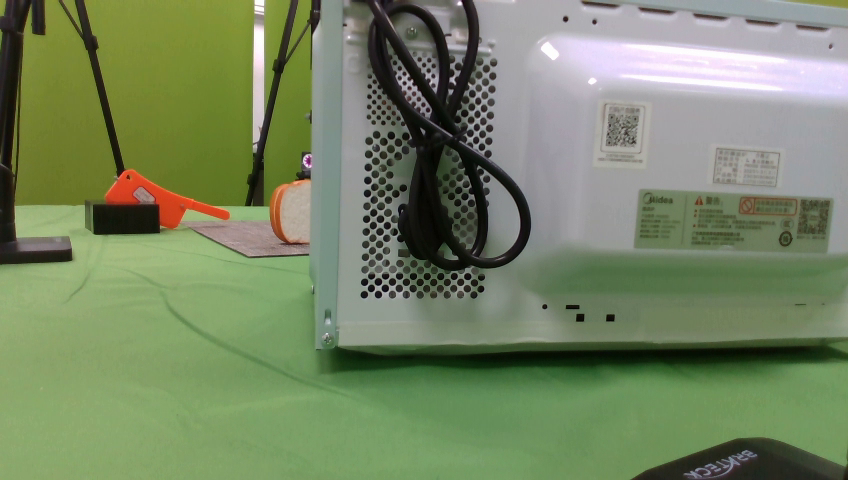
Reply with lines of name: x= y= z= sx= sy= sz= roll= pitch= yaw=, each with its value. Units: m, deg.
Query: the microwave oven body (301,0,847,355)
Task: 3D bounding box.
microwave oven body: x=0.120 y=-0.053 z=0.535 sx=0.443 sy=0.260 sz=0.325 roll=2 pitch=7 yaw=-11

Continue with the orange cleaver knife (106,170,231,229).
orange cleaver knife: x=-0.458 y=-0.060 z=1.097 sx=0.212 sy=0.077 sz=0.012 roll=23 pitch=-4 yaw=-38

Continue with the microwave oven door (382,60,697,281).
microwave oven door: x=0.133 y=-0.080 z=0.716 sx=0.356 sy=0.243 sz=0.039 roll=2 pitch=8 yaw=-1

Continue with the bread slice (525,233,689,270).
bread slice: x=0.175 y=0.010 z=0.565 sx=0.134 sy=0.018 sz=0.107 roll=-6 pitch=5 yaw=26

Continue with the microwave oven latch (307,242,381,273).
microwave oven latch: x=-0.086 y=0.019 z=0.656 sx=0.079 sy=0.029 sz=0.030 roll=2 pitch=7 yaw=-10

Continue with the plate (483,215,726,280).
plate: x=0.158 y=0.005 z=0.546 sx=0.208 sy=0.039 sz=0.207 roll=-2 pitch=7 yaw=1
